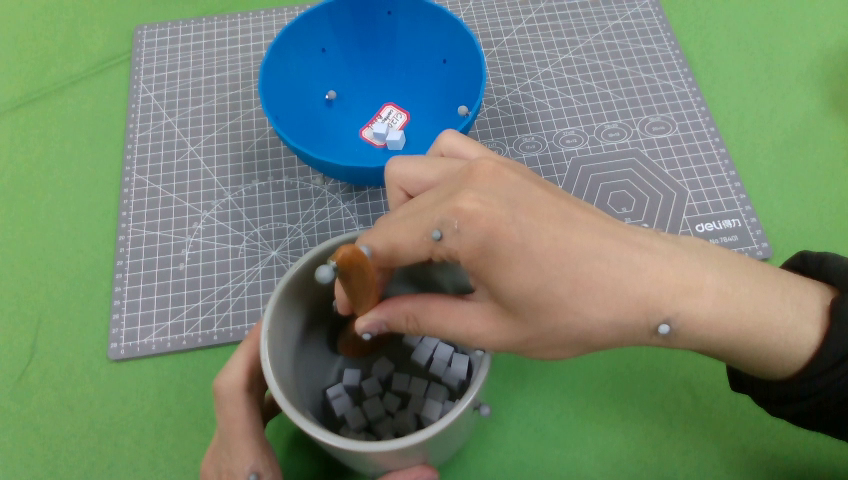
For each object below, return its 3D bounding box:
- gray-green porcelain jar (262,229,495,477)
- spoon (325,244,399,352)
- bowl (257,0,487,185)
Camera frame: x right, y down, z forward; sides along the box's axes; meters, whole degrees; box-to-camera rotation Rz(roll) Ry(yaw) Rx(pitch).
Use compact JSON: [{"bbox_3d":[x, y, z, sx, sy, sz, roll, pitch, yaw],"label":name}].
[{"bbox_3d":[-0.018,0.068,0.326,0.106,0.127,0.105,-1,63,2],"label":"gray-green porcelain jar"},{"bbox_3d":[-0.028,0.033,0.295,0.041,0.194,0.021,-32,80,-11],"label":"spoon"},{"bbox_3d":[-0.033,-0.093,0.430,0.151,0.077,0.150,-1,63,1],"label":"bowl"}]
